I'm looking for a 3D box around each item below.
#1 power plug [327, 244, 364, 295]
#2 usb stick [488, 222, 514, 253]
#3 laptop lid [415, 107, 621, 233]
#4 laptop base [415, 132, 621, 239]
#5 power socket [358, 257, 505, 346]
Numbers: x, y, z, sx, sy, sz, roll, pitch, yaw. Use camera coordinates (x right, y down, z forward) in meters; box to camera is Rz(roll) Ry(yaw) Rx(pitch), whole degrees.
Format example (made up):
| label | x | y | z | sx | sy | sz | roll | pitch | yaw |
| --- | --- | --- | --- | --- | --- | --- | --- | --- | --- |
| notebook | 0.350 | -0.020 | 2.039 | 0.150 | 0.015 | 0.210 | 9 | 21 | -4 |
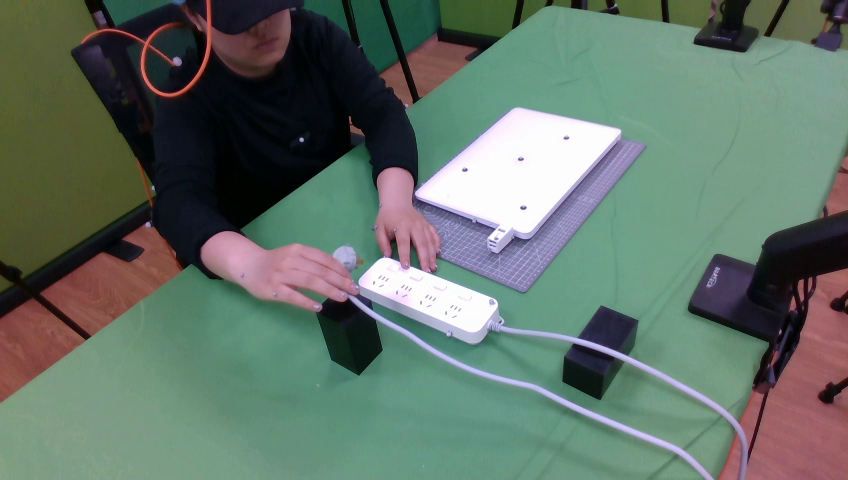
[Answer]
| label | x | y | z | sx | sy | sz | roll | pitch | yaw |
| --- | --- | --- | --- | --- | --- | --- | --- | --- | --- |
| power plug | -0.100 | 0.041 | 0.787 | 0.053 | 0.035 | 0.072 | 4 | 69 | -43 |
| usb stick | 0.124 | -0.008 | 0.944 | 0.021 | 0.027 | 0.059 | 25 | 47 | 31 |
| laptop lid | 0.175 | -0.144 | 1.094 | 0.239 | 0.013 | 0.358 | 23 | 49 | 33 |
| laptop base | 0.179 | -0.134 | 1.101 | 0.233 | 0.023 | 0.355 | 20 | 47 | 33 |
| power socket | 0.004 | 0.084 | 0.862 | 0.225 | 0.033 | 0.072 | 20 | 48 | 28 |
